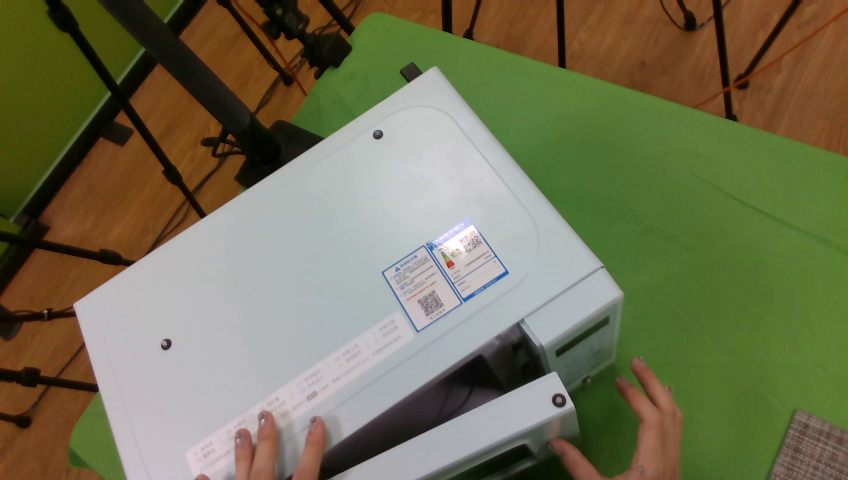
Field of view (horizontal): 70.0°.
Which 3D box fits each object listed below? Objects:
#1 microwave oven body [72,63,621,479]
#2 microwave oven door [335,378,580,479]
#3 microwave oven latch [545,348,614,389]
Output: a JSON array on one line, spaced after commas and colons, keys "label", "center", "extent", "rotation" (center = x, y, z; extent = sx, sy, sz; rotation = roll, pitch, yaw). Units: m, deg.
[{"label": "microwave oven body", "center": [-0.072, 0.087, 0.652], "extent": [0.442, 0.262, 0.323], "rotation": [-34, 63, -1]}, {"label": "microwave oven door", "center": [-0.025, 0.235, 0.570], "extent": [0.356, 0.246, 0.039], "rotation": [-26, 62, 3]}, {"label": "microwave oven latch", "center": [0.173, 0.135, 0.675], "extent": [0.079, 0.030, 0.030], "rotation": [-31, 63, 1]}]
